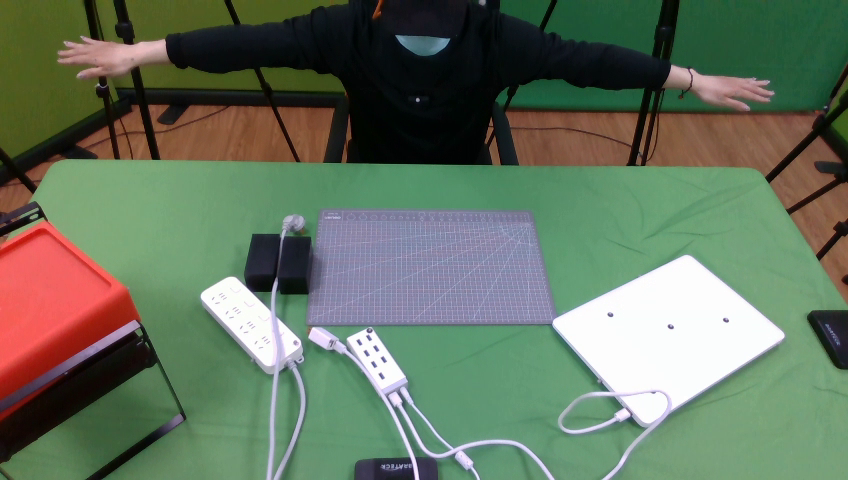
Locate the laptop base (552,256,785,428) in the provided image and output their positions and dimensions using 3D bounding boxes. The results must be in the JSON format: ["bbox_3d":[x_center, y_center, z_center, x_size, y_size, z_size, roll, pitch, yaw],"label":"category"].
[{"bbox_3d":[0.433,0.164,1.078,0.355,0.023,0.234,-22,48,-23],"label":"laptop base"}]

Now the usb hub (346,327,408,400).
[{"bbox_3d":[-0.078,0.202,0.998,0.049,0.025,0.124,-23,53,-24],"label":"usb hub"}]

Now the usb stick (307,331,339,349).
[{"bbox_3d":[-0.175,0.168,1.022,0.059,0.027,0.021,10,89,24],"label":"usb stick"}]

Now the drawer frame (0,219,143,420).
[{"bbox_3d":[-0.518,0.096,0.777,0.201,0.083,0.213,30,52,22],"label":"drawer frame"}]

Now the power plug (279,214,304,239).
[{"bbox_3d":[-0.262,-0.020,1.185,0.035,0.053,0.072,10,57,33],"label":"power plug"}]

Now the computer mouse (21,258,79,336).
[{"bbox_3d":[-0.505,0.073,0.819,0.063,0.041,0.116,-6,57,-18],"label":"computer mouse"}]

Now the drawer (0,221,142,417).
[{"bbox_3d":[-0.516,0.095,0.780,0.193,0.073,0.211,32,53,23],"label":"drawer"}]

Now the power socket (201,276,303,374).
[{"bbox_3d":[-0.296,0.141,1.034,0.072,0.033,0.225,-35,58,-31],"label":"power socket"}]

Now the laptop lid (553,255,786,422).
[{"bbox_3d":[0.433,0.154,1.070,0.357,0.013,0.240,-20,49,-22],"label":"laptop lid"}]
